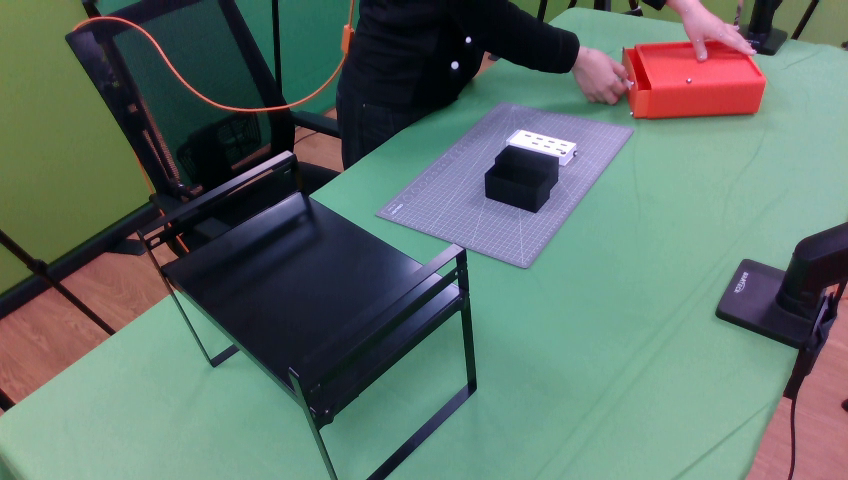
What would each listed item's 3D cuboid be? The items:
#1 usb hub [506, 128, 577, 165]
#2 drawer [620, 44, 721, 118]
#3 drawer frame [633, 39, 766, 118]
[{"bbox_3d":[0.221,-0.177,1.141,0.124,0.025,0.049,22,49,30],"label":"usb hub"},{"bbox_3d":[0.520,-0.329,1.238,0.211,0.073,0.194,0,40,7],"label":"drawer"},{"bbox_3d":[0.545,-0.332,1.233,0.213,0.083,0.201,-1,41,6],"label":"drawer frame"}]
